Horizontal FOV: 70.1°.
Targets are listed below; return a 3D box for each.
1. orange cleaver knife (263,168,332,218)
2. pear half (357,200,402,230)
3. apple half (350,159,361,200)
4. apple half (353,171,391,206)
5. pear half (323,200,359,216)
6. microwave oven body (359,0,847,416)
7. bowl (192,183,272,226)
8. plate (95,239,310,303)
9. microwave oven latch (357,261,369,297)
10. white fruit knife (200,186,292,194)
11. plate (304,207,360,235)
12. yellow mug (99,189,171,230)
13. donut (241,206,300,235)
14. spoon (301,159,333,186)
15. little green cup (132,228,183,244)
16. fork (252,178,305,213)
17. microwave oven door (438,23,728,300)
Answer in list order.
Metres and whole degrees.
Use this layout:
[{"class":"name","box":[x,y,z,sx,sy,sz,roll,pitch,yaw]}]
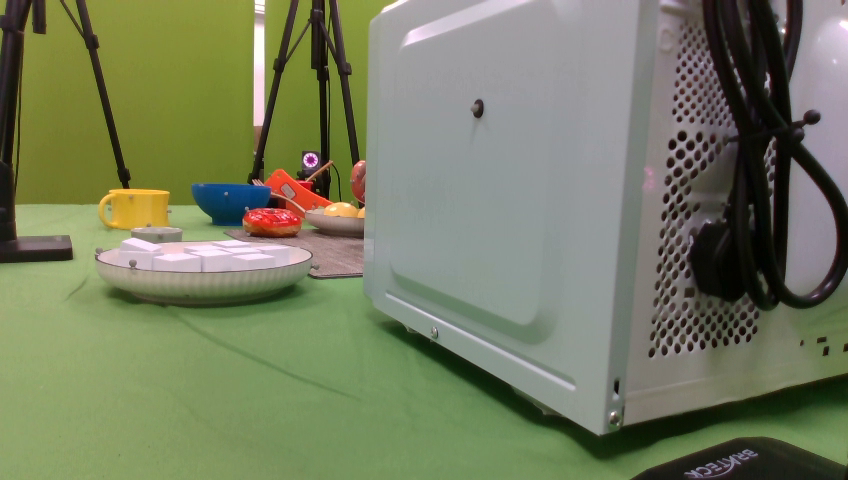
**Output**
[{"class":"orange cleaver knife","box":[-0.262,-0.088,1.353,0.211,0.077,0.012,28,13,-1]},{"class":"pear half","box":[-0.075,-0.047,1.133,0.076,0.056,0.110,13,9,31]},{"class":"apple half","box":[-0.076,-0.096,0.991,0.053,0.074,0.081,20,19,36]},{"class":"apple half","box":[-0.099,-0.107,1.170,0.081,0.081,0.033,1,-27,-11]},{"class":"pear half","box":[-0.155,-0.059,1.197,0.088,0.031,0.070,13,32,-1]},{"class":"microwave oven body","box":[0.211,-0.047,0.474,0.444,0.260,0.324,-1,7,-28]},{"class":"bowl","box":[-0.381,-0.071,1.202,0.151,0.077,0.151,3,7,0]},{"class":"plate","box":[-0.224,0.031,0.629,0.208,0.039,0.207,2,7,0]},{"class":"microwave oven latch","box":[-0.019,0.033,0.531,0.079,0.029,0.030,-1,7,-27]},{"class":"white fruit knife","box":[-0.399,-0.111,1.368,0.208,0.016,0.027,-4,-19,-30]},{"class":"plate","box":[-0.123,-0.037,1.149,0.209,0.038,0.209,2,7,0]},{"class":"yellow mug","box":[-0.519,-0.055,1.080,0.099,0.064,0.131,7,10,26]},{"class":"donut","box":[-0.263,-0.032,1.039,0.099,0.048,0.099,4,10,0]},{"class":"spoon","box":[-0.316,-0.159,1.639,0.194,0.022,0.041,-49,32,-20]},{"class":"little green cup","box":[-0.342,0.006,0.779,0.061,0.038,0.061,2,8,0]},{"class":"fork","box":[-0.295,-0.084,1.292,0.206,0.018,0.028,29,10,25]},{"class":"microwave oven door","box":[0.181,-0.072,0.621,0.358,0.243,0.039,-2,8,-29]}]
